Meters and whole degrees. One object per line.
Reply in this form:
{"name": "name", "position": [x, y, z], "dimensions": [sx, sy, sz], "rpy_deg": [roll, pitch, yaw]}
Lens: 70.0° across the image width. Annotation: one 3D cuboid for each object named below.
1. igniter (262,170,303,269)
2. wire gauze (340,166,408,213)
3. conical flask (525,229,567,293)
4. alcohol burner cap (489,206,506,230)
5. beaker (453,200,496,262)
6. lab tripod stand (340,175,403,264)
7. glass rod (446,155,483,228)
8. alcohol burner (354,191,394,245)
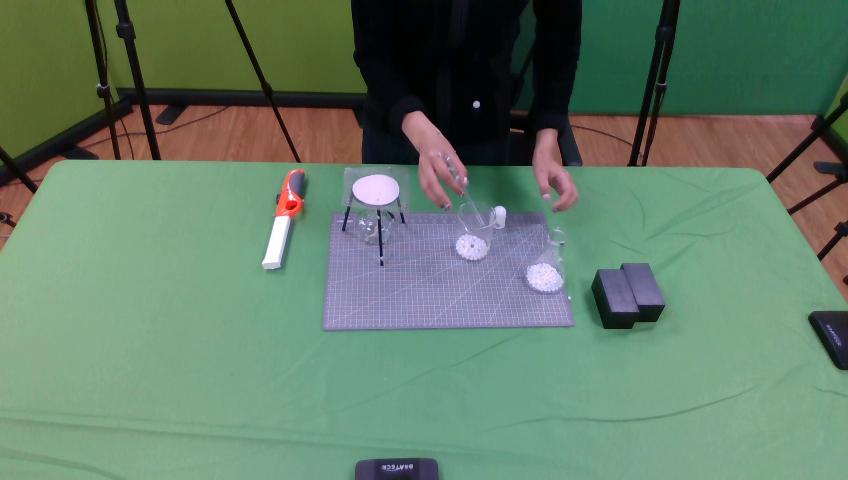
{"name": "igniter", "position": [-0.283, -0.050, 1.222], "dimensions": [0.057, 0.025, 0.275], "rpy_deg": [-5, 45, 6]}
{"name": "wire gauze", "position": [-0.091, -0.096, 1.110], "dimensions": [0.125, 0.011, 0.120], "rpy_deg": [2, 45, -3]}
{"name": "conical flask", "position": [0.231, 0.036, 1.110], "dimensions": [0.075, 0.122, 0.075], "rpy_deg": [2, 46, -2]}
{"name": "alcohol burner cap", "position": [0.152, -0.047, 1.241], "dimensions": [0.034, 0.048, 0.033], "rpy_deg": [1, 44, -1]}
{"name": "beaker", "position": [0.094, -0.012, 1.162], "dimensions": [0.074, 0.101, 0.083], "rpy_deg": [17, 48, 12]}
{"name": "lab tripod stand", "position": [-0.093, -0.050, 1.160], "dimensions": [0.148, 0.132, 0.147], "rpy_deg": [2, 44, -2]}
{"name": "glass rod", "position": [0.073, -0.081, 1.066], "dimensions": [0.008, 0.201, 0.008], "rpy_deg": [-13, 51, 16]}
{"name": "alcohol burner", "position": [-0.096, -0.048, 1.171], "dimensions": [0.078, 0.119, 0.077], "rpy_deg": [4, 45, -4]}
